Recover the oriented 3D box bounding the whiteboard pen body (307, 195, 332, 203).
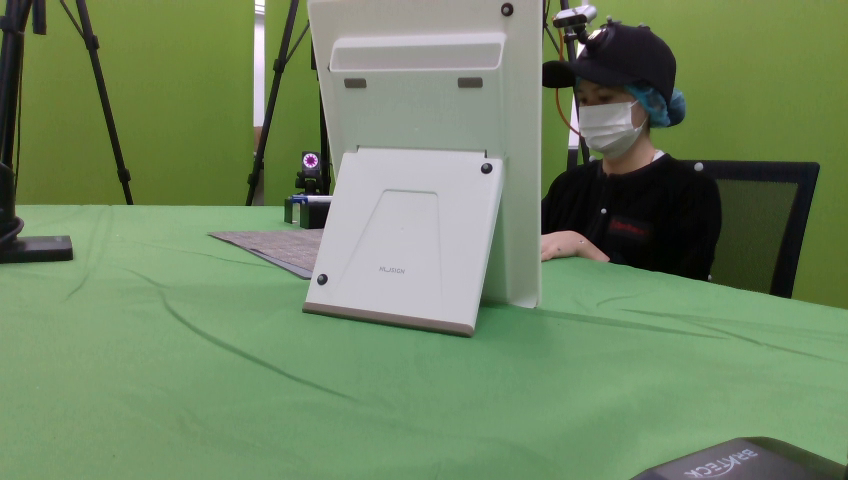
[{"bbox_3d":[-0.195,-0.082,1.223,0.141,0.017,0.017,-2,9,-33],"label":"whiteboard pen body"}]

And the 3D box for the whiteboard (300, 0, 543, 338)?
[{"bbox_3d":[-0.020,-0.050,0.523,0.216,0.305,0.144,6,27,22],"label":"whiteboard"}]

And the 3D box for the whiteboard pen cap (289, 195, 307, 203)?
[{"bbox_3d":[-0.247,-0.081,1.189,0.033,0.018,0.018,-4,10,-32],"label":"whiteboard pen cap"}]
